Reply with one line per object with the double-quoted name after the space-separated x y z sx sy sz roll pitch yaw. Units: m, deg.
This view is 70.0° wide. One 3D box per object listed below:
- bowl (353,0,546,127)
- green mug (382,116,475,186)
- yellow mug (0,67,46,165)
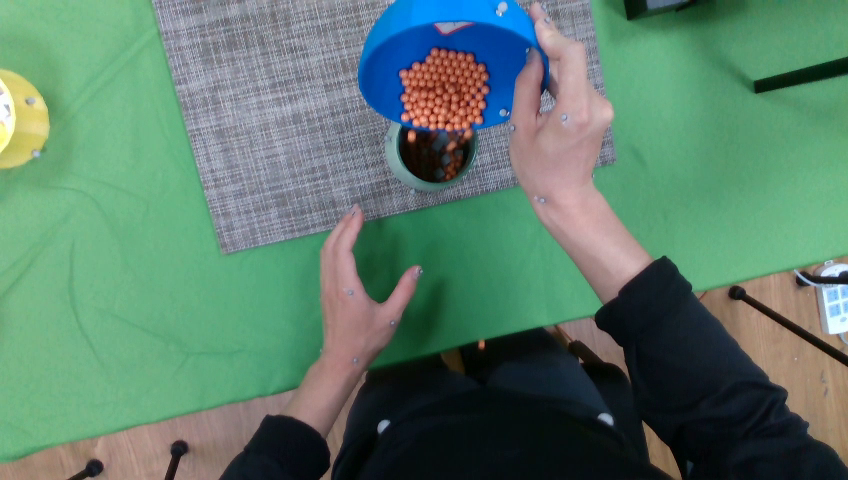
0.020 -0.162 0.486 0.151 0.152 0.076 1 71 -6 "bowl"
0.006 -0.117 0.612 0.093 0.104 0.125 3 96 -6 "green mug"
-0.439 -0.108 0.585 0.100 0.064 0.131 19 96 -9 "yellow mug"
